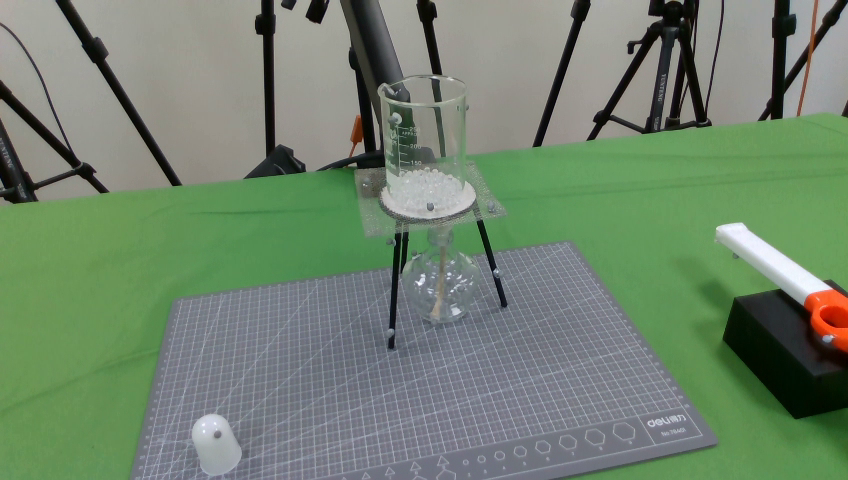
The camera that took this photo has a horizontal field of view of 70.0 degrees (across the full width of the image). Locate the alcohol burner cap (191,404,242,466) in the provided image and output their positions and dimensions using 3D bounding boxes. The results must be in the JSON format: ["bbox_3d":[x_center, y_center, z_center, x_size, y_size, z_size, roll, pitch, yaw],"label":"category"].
[{"bbox_3d":[-0.161,0.147,0.467,0.034,0.048,0.033,-1,35,1],"label":"alcohol burner cap"}]

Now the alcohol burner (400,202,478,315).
[{"bbox_3d":[0.014,0.014,0.588,0.078,0.120,0.077,0,36,1],"label":"alcohol burner"}]

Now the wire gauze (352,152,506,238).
[{"bbox_3d":[-0.001,-0.048,0.545,0.121,0.011,0.123,-8,37,-7],"label":"wire gauze"}]

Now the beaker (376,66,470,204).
[{"bbox_3d":[-0.003,-0.089,0.518,0.074,0.101,0.083,-30,42,-36],"label":"beaker"}]

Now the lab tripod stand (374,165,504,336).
[{"bbox_3d":[0.006,0.004,0.585,0.148,0.132,0.147,-1,33,1],"label":"lab tripod stand"}]

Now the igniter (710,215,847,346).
[{"bbox_3d":[0.338,0.050,0.513,0.057,0.025,0.273,-9,31,-9],"label":"igniter"}]
